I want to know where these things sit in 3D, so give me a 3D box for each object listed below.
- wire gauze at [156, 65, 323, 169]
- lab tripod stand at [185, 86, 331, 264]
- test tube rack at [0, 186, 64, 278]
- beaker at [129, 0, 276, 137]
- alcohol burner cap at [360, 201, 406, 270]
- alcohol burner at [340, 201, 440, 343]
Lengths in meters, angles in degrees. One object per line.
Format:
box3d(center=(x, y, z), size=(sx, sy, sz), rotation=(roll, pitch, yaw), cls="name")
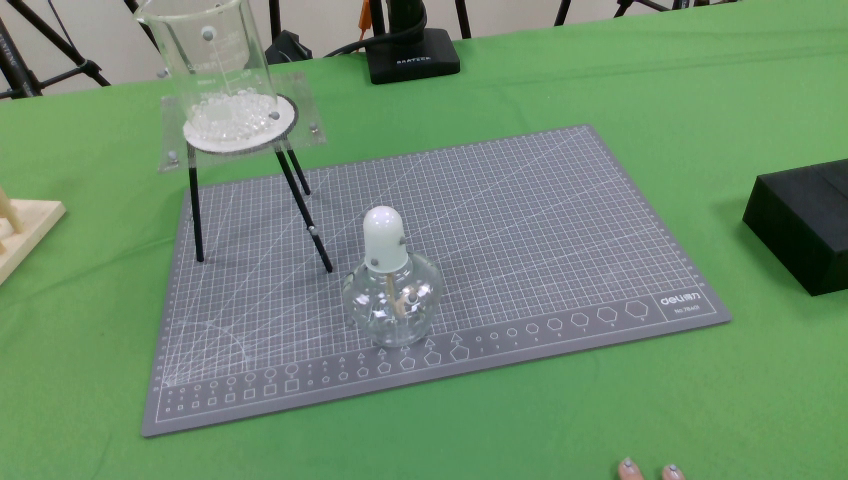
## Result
box3d(center=(-0.150, -0.100, 0.483), size=(0.125, 0.011, 0.120), rotation=(-16, 42, -7), cls="wire gauze")
box3d(center=(-0.145, -0.052, 0.528), size=(0.148, 0.133, 0.147), rotation=(-3, 45, 3), cls="lab tripod stand")
box3d(center=(-0.429, 0.014, 0.524), size=(0.066, 0.086, 0.240), rotation=(4, 44, 9), cls="test tube rack")
box3d(center=(-0.158, -0.134, 0.449), size=(0.084, 0.101, 0.073), rotation=(-15, 44, -8), cls="beaker")
box3d(center=(-0.030, -0.005, 0.428), size=(0.034, 0.048, 0.033), rotation=(-1, 40, 1), cls="alcohol burner cap")
box3d(center=(-0.027, 0.021, 0.453), size=(0.078, 0.120, 0.077), rotation=(-3, 41, 3), cls="alcohol burner")
